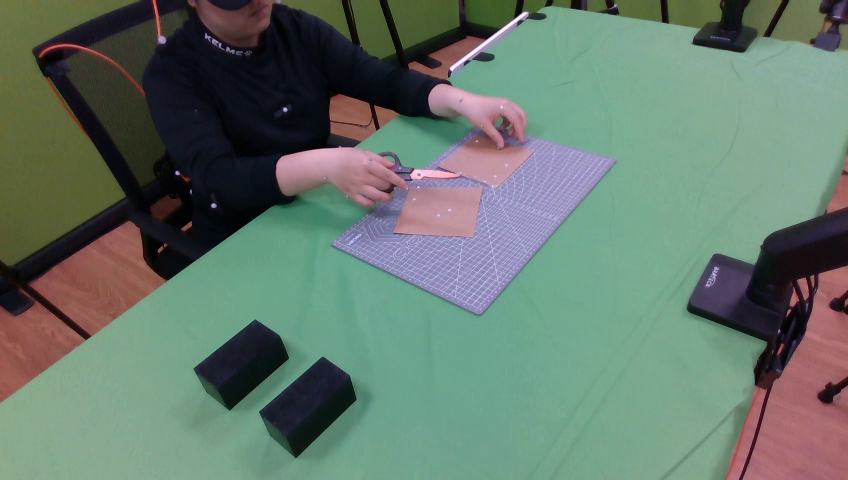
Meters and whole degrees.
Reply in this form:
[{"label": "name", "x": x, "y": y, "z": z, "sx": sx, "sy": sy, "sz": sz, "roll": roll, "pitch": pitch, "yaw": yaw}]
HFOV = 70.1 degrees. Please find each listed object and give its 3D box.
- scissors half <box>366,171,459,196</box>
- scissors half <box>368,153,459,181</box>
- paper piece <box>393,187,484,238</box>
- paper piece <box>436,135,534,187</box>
[{"label": "scissors half", "x": -0.021, "y": -0.099, "z": 1.015, "sx": 0.174, "sy": 0.013, "sz": 0.040, "roll": -5, "pitch": 82, "yaw": 26}, {"label": "scissors half", "x": -0.019, "y": -0.119, "z": 1.016, "sx": 0.174, "sy": 0.040, "sz": 0.013, "roll": 14, "pitch": 6, "yaw": 26}, {"label": "paper piece", "x": 0.027, "y": -0.051, "z": 1.033, "sx": 0.135, "sy": 0.004, "sz": 0.135, "roll": 4, "pitch": 42, "yaw": 12}, {"label": "paper piece", "x": 0.116, "y": -0.153, "z": 1.140, "sx": 0.135, "sy": 0.009, "sz": 0.138, "roll": 26, "pitch": 48, "yaw": 27}]
